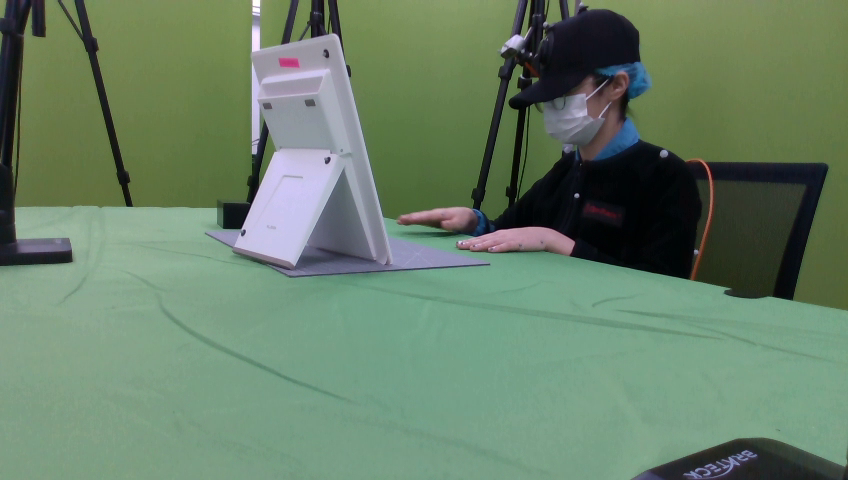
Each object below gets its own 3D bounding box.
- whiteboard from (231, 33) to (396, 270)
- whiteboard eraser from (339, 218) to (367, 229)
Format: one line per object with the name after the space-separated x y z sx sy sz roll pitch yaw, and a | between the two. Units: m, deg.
-0.193 -0.094 0.805 0.144 0.305 0.216 -29 25 -35 | whiteboard
-0.146 -0.036 1.246 0.041 0.019 0.101 2 5 9 | whiteboard eraser
